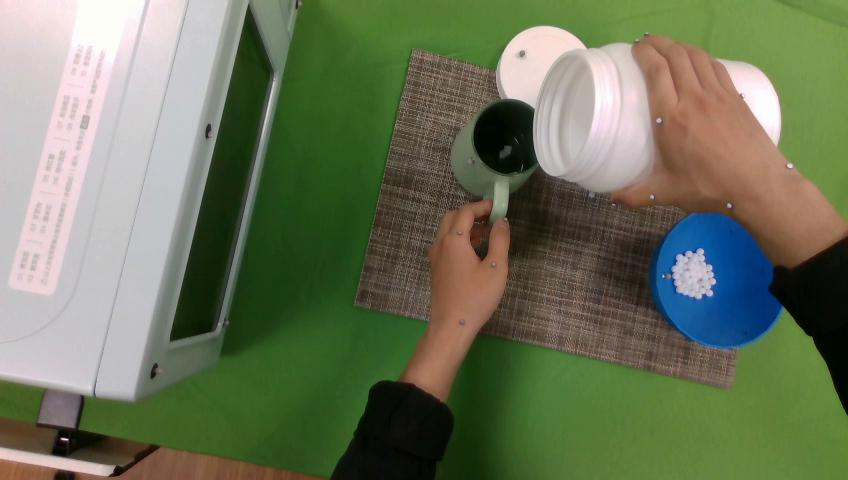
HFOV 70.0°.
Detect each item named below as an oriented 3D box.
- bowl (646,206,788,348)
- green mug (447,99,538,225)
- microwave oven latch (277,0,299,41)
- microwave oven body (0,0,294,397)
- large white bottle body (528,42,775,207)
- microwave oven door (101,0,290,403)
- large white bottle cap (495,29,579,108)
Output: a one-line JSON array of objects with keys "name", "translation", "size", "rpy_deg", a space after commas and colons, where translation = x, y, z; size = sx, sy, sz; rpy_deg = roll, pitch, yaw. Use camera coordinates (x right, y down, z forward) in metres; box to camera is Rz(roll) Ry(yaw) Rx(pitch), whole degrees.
[{"name": "bowl", "translation": [0.309, 0.042, 0.675], "size": [0.151, 0.077, 0.151], "rpy_deg": [1, 85, -6]}, {"name": "green mug", "translation": [0.075, -0.078, 0.643], "size": [0.093, 0.105, 0.125], "rpy_deg": [5, 85, -7]}, {"name": "microwave oven latch", "translation": [-0.149, -0.258, 0.649], "size": [0.030, 0.029, 0.079], "rpy_deg": [11, 85, -6]}, {"name": "microwave oven body", "translation": [-0.318, -0.125, 0.521], "size": [0.327, 0.260, 0.440], "rpy_deg": [12, 85, -6]}, {"name": "large white bottle body", "translation": [0.201, -0.104, 0.552], "size": [0.185, 0.130, 0.130], "rpy_deg": [6, 84, -20]}, {"name": "microwave oven door", "translation": [-0.183, -0.055, 0.527], "size": [0.039, 0.244, 0.355], "rpy_deg": [11, 84, -5]}, {"name": "large white bottle cap", "translation": [0.140, -0.188, 0.702], "size": [0.115, 0.018, 0.114], "rpy_deg": [1, 81, -7]}]
